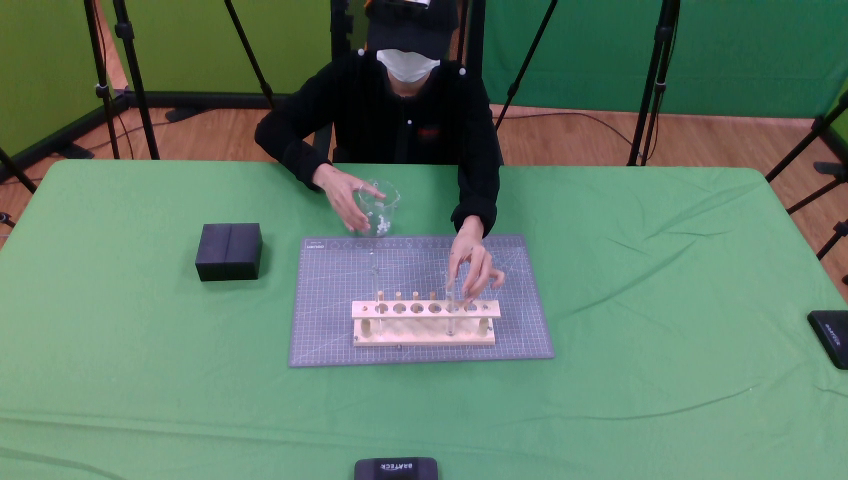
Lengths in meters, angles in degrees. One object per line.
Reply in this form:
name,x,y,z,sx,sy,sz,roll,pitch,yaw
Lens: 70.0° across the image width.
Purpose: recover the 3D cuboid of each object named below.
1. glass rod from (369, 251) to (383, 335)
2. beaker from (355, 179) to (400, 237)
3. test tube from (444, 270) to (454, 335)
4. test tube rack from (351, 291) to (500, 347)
glass rod,-0.075,0.089,0.965,0.008,0.201,0.008,-1,44,1
beaker,-0.094,-0.059,1.181,0.084,0.100,0.073,6,53,-8
test tube,0.042,0.105,0.983,0.017,0.151,0.017,-1,44,1
test tube rack,0.000,0.129,1.026,0.242,0.085,0.066,0,46,-4
